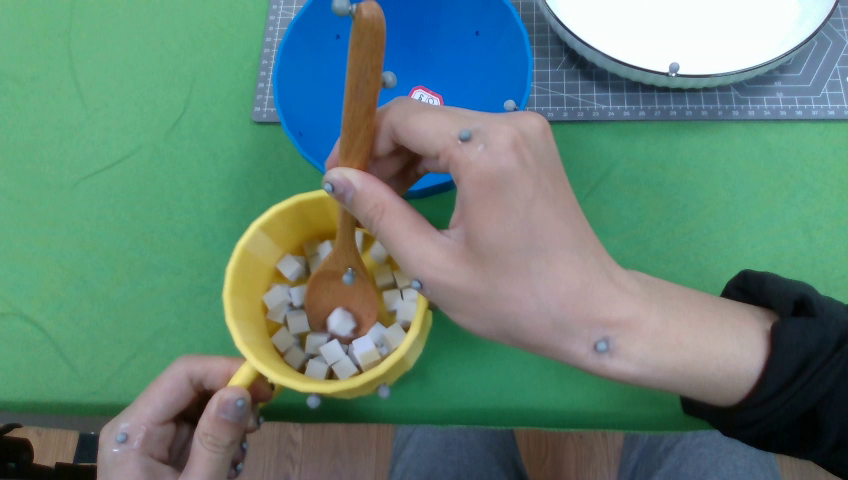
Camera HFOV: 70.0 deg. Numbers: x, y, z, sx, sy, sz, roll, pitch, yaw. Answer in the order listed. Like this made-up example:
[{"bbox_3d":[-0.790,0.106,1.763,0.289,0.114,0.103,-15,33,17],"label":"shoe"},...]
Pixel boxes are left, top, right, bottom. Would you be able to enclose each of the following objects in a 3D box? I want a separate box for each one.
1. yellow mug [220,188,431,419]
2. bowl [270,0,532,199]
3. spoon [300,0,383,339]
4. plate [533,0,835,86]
[{"bbox_3d":[-0.056,0.042,0.317,0.099,0.064,0.130,39,80,11],"label":"yellow mug"},{"bbox_3d":[-0.010,-0.087,0.380,0.151,0.077,0.150,-1,74,5],"label":"bowl"},{"bbox_3d":[-0.034,-0.013,0.272,0.041,0.195,0.021,18,50,3],"label":"spoon"},{"bbox_3d":[0.172,-0.192,0.421,0.209,0.038,0.207,-2,70,5],"label":"plate"}]
